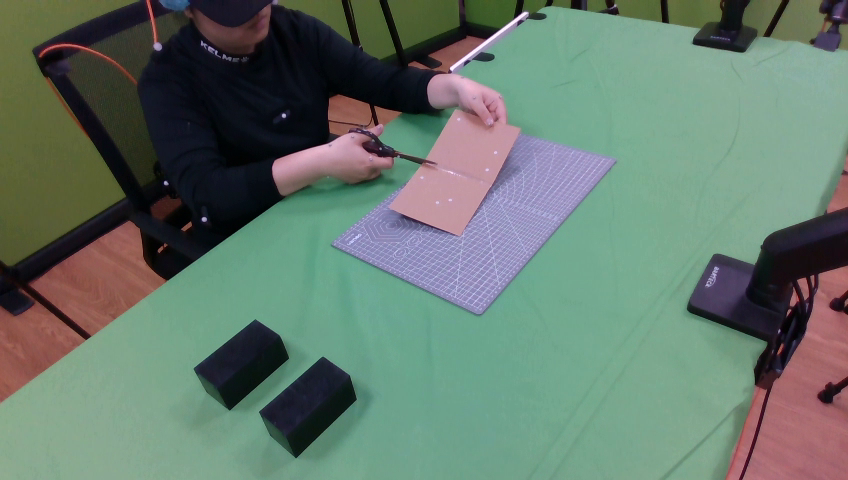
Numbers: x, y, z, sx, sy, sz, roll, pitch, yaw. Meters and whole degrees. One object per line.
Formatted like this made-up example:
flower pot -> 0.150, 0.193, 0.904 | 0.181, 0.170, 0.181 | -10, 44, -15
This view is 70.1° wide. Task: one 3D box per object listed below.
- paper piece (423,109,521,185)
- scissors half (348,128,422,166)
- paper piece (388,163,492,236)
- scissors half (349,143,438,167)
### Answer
paper piece -> 0.089, -0.171, 1.101 | 0.135, 0.009, 0.138 | 24, 65, 13
scissors half -> -0.056, -0.162, 1.093 | 0.175, 0.040, 0.013 | 24, 64, -4
paper piece -> 0.029, -0.074, 1.034 | 0.135, 0.004, 0.135 | 22, 52, 16
scissors half -> -0.057, -0.151, 1.112 | 0.174, 0.040, 0.013 | 12, 58, 18
